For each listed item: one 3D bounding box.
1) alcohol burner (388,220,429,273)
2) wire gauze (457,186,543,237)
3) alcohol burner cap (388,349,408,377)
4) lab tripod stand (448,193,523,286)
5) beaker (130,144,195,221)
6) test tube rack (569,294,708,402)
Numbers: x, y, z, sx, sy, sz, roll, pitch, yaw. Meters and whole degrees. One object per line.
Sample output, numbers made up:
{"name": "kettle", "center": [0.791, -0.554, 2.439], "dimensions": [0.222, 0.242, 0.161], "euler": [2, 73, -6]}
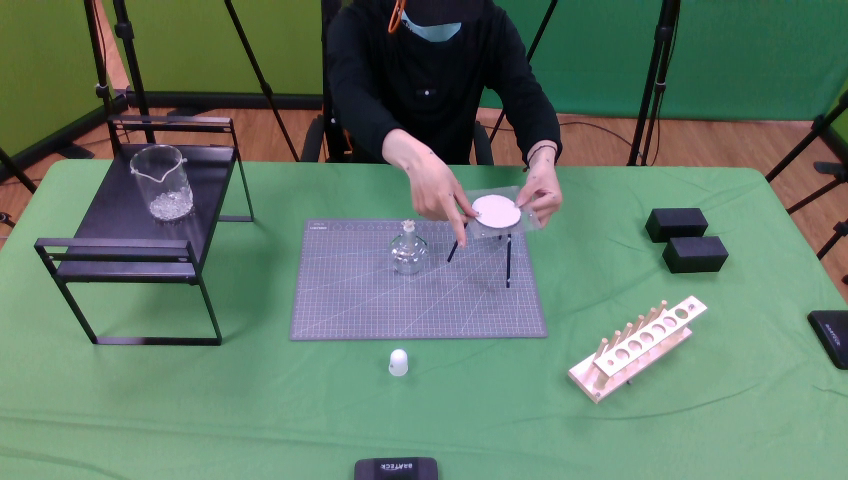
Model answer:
{"name": "alcohol burner", "center": [-0.028, 0.006, 1.118], "dimensions": [0.078, 0.120, 0.077], "euler": [2, 48, -2]}
{"name": "wire gauze", "center": [0.128, -0.054, 1.039], "dimensions": [0.122, 0.011, 0.124], "euler": [-5, 43, -13]}
{"name": "alcohol burner cap", "center": [-0.042, 0.197, 0.989], "dimensions": [0.034, 0.048, 0.033], "euler": [3, 46, -2]}
{"name": "lab tripod stand", "center": [0.122, -0.010, 1.089], "dimensions": [0.148, 0.132, 0.147], "euler": [2, 44, -2]}
{"name": "beaker", "center": [-0.403, -0.085, 0.944], "dimensions": [0.074, 0.101, 0.083], "euler": [-15, 50, -17]}
{"name": "test tube rack", "center": [0.360, 0.167, 1.014], "dimensions": [0.242, 0.085, 0.066], "euler": [-25, 53, -25]}
